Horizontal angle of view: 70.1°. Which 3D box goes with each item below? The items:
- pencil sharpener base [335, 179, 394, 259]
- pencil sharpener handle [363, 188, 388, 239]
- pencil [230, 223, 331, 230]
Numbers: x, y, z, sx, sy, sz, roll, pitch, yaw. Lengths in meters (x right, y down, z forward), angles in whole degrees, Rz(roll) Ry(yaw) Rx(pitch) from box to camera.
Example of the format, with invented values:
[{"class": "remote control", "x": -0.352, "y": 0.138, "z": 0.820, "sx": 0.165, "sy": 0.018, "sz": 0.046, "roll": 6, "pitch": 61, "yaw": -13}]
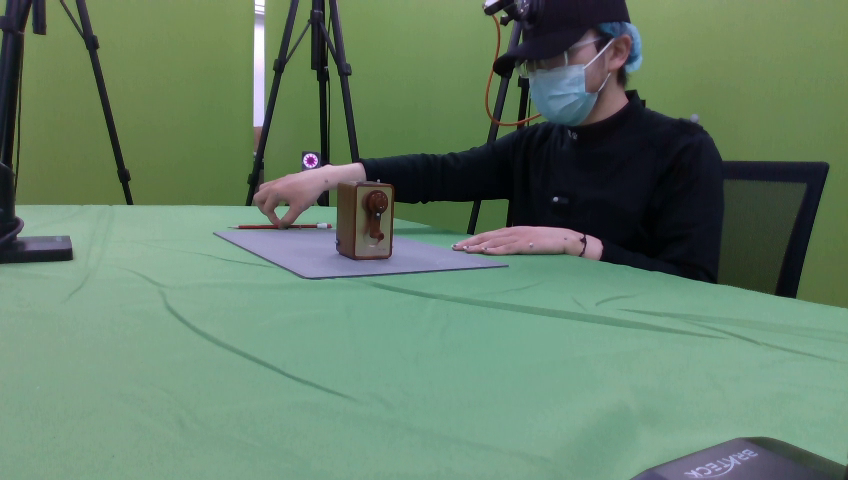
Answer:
[{"class": "pencil sharpener base", "x": -0.084, "y": -0.030, "z": 0.855, "sx": 0.061, "sy": 0.107, "sz": 0.076, "roll": -1, "pitch": 8, "yaw": -28}, {"class": "pencil sharpener handle", "x": -0.061, "y": -0.035, "z": 0.809, "sx": 0.036, "sy": 0.067, "sz": 0.030, "roll": 4, "pitch": 6, "yaw": -29}, {"class": "pencil", "x": -0.276, "y": -0.026, "z": 1.172, "sx": 0.195, "sy": 0.012, "sz": 0.012, "roll": -2, "pitch": 9, "yaw": -23}]
